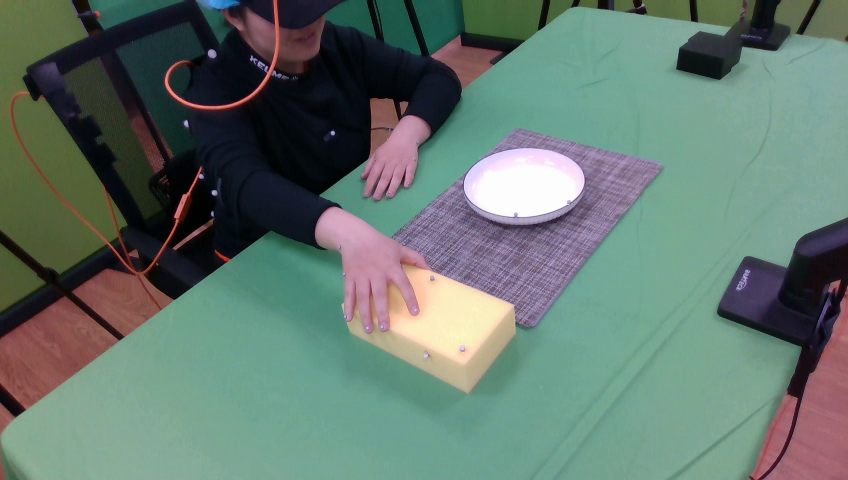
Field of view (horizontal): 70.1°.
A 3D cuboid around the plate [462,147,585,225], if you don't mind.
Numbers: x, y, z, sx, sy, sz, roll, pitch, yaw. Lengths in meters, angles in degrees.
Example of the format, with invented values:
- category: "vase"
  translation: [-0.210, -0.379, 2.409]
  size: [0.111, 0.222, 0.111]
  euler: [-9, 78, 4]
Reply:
- category: "plate"
  translation: [0.170, -0.089, 1.041]
  size: [0.207, 0.039, 0.206]
  euler: [-5, 40, 5]

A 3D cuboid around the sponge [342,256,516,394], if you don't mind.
- category: "sponge"
  translation: [0.006, 0.109, 0.827]
  size: [0.205, 0.061, 0.118]
  euler: [20, 48, 30]
